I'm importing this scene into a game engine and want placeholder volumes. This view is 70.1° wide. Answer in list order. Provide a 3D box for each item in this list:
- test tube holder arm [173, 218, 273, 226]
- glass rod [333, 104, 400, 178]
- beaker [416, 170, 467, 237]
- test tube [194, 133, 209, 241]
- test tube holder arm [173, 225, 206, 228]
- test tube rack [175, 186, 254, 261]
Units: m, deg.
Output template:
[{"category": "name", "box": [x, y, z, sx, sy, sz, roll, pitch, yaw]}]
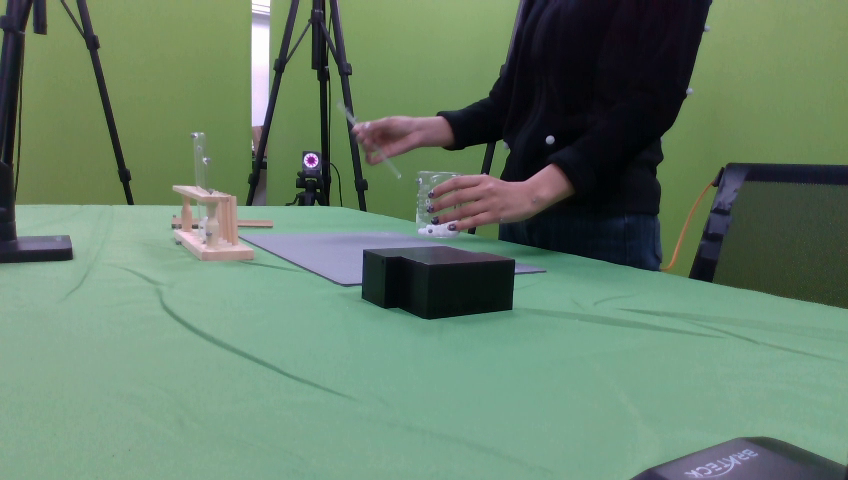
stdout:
[{"category": "test tube holder arm", "box": [-0.371, -0.033, 1.128, 0.179, 0.015, 0.013, -1, -21, -25]}, {"category": "glass rod", "box": [-0.106, -0.183, 1.105, 0.199, 0.008, 0.008, 48, 25, 16]}, {"category": "beaker", "box": [0.024, -0.057, 0.934, 0.074, 0.100, 0.083, 0, 6, -21]}, {"category": "test tube", "box": [-0.307, -0.074, 0.842, 0.017, 0.150, 0.017, -3, 2, 0]}, {"category": "test tube holder arm", "box": [-0.414, -0.030, 1.113, 0.088, 0.015, 0.010, -1, -21, -25]}, {"category": "test tube rack", "box": [-0.314, -0.031, 0.889, 0.067, 0.085, 0.241, -2, 8, -30]}]
